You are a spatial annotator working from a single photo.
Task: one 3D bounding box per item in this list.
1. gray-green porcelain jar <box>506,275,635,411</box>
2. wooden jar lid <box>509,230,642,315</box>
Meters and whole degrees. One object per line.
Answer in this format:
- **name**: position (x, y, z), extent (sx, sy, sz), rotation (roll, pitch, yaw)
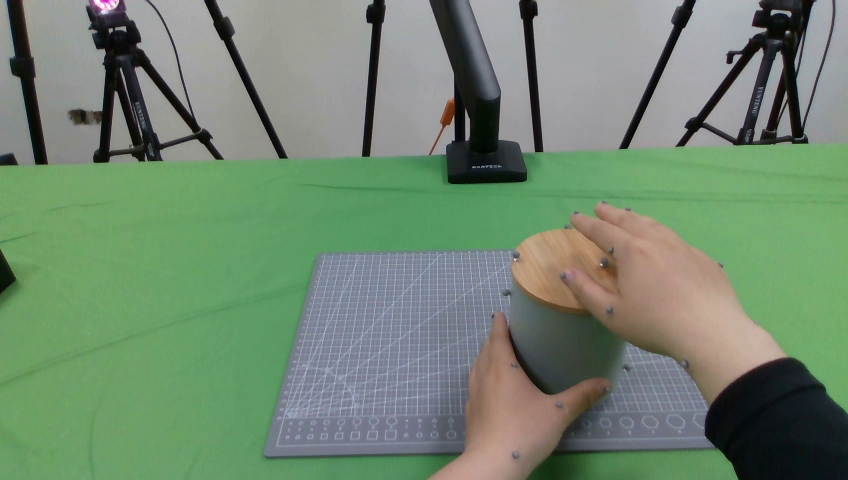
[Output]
- **gray-green porcelain jar**: position (0.127, 0.081, 0.544), extent (0.106, 0.127, 0.105), rotation (-2, 35, 1)
- **wooden jar lid**: position (0.125, 0.029, 0.509), extent (0.108, 0.021, 0.107), rotation (-2, 35, 2)
